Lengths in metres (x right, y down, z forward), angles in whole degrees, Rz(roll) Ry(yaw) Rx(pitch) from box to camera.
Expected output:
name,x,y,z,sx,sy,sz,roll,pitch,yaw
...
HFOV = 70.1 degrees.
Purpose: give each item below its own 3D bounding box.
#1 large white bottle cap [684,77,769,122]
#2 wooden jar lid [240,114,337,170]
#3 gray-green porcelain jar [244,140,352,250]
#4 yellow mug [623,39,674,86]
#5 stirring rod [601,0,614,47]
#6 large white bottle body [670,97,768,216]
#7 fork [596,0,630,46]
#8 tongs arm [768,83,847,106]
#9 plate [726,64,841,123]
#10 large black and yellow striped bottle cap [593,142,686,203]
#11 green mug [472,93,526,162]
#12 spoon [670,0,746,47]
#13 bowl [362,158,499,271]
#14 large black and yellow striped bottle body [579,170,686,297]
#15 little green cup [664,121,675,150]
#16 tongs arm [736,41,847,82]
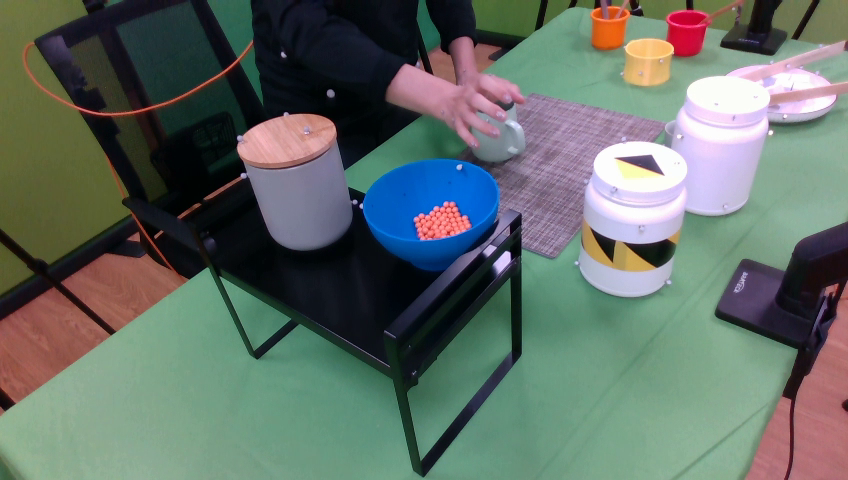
name,x,y,z,sx,sy,sz,roll,pitch,yaw
large white bottle cap,0.448,-0.210,0.898,0.115,0.018,0.114,-4,40,4
wooden jar lid,-0.149,-0.106,0.673,0.108,0.021,0.108,-6,39,5
gray-green porcelain jar,-0.144,-0.060,0.714,0.106,0.127,0.105,-4,41,4
yellow mug,0.484,-0.398,1.333,0.100,0.064,0.130,-18,41,-11
stirring rod,0.439,-0.552,1.463,0.014,0.006,0.175,-7,83,3
large white bottle body,0.458,-0.146,0.952,0.130,0.185,0.130,-4,40,4
fork,0.481,-0.556,1.453,0.028,0.019,0.207,40,103,38
tongs arm,0.738,-0.281,1.134,0.388,0.028,0.028,-9,47,-5
plate,0.695,-0.282,1.189,0.207,0.039,0.206,-4,40,4
large black and yellow striped bottle cap,0.280,-0.090,0.786,0.115,0.019,0.114,-5,41,5
green mug,0.144,-0.202,1.122,0.093,0.105,0.124,-29,45,-23
spoon,0.629,-0.485,1.350,0.022,0.193,0.042,48,54,-7
bowl,0.011,-0.019,0.679,0.151,0.077,0.150,-5,41,5
large black and yellow striped bottle body,0.287,-0.027,0.841,0.131,0.185,0.130,-4,40,4
little green cup,0.472,-0.188,1.113,0.061,0.039,0.061,-5,40,4
tongs arm,0.712,-0.332,1.194,0.386,0.026,0.050,-19,45,-16
